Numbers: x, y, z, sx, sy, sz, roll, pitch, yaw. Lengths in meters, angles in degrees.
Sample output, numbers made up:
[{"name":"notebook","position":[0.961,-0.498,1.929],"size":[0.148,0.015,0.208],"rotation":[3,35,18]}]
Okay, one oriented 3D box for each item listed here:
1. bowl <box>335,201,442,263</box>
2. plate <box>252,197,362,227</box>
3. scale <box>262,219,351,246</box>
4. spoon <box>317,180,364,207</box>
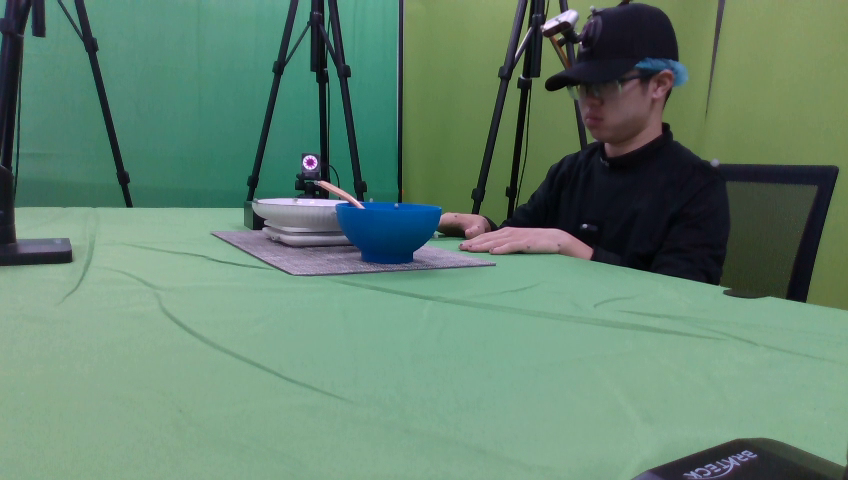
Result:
[{"name":"bowl","position":[-0.051,-0.012,0.849],"size":[0.151,0.077,0.151],"rotation":[2,7,0]},{"name":"plate","position":[-0.179,-0.047,1.012],"size":[0.209,0.038,0.209],"rotation":[2,6,0]},{"name":"scale","position":[-0.160,-0.015,1.027],"size":[0.202,0.031,0.148],"rotation":[-2,8,-32]},{"name":"spoon","position":[-0.100,-0.051,0.875],"size":[0.042,0.021,0.192],"rotation":[-12,37,-38]}]
